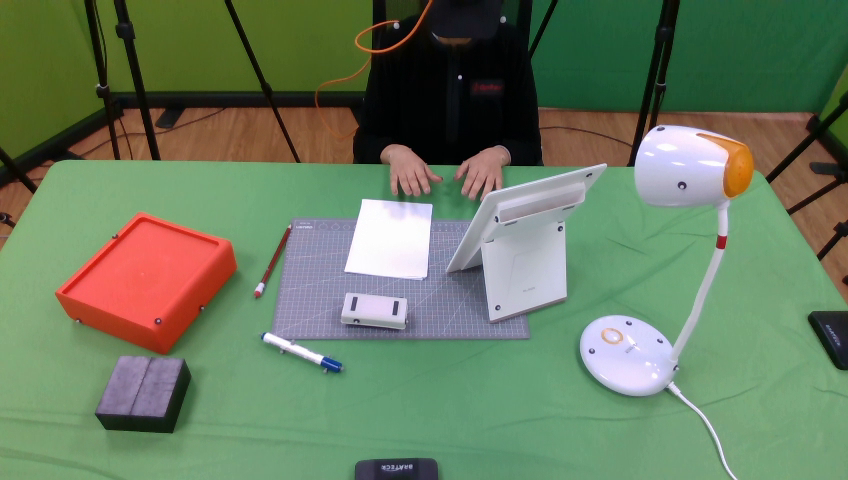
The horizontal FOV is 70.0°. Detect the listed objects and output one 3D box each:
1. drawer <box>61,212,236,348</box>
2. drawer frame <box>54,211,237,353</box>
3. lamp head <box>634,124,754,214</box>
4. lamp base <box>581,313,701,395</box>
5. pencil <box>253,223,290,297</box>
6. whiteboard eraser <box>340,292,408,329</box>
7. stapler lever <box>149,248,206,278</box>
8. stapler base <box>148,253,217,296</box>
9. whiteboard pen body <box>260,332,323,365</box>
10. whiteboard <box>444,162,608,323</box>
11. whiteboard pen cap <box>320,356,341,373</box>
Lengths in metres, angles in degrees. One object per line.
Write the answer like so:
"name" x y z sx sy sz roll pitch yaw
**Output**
"drawer" -0.473 0.064 1.060 0.194 0.073 0.211 18 48 11
"drawer frame" -0.473 0.067 1.055 0.201 0.083 0.212 17 48 11
"lamp head" 0.351 -0.089 0.775 0.112 0.113 0.122 -30 30 -28
"lamp base" 0.361 0.144 0.973 0.178 0.181 0.160 34 53 23
"pencil" -0.286 0.033 1.150 0.012 0.012 0.193 9 46 4
"whiteboard eraser" -0.087 0.125 1.052 0.113 0.042 0.055 5 45 1
"stapler lever" -0.442 0.037 1.084 0.118 0.040 0.027 19 49 17
"stapler base" -0.443 0.059 1.109 0.130 0.024 0.041 24 50 11
"whiteboard pen body" -0.208 0.184 1.003 0.140 0.017 0.017 20 48 12
"whiteboard" 0.186 0.026 1.028 0.217 0.306 0.143 -14 68 -18
"whiteboard pen cap" -0.154 0.203 0.992 0.033 0.018 0.018 21 48 12
